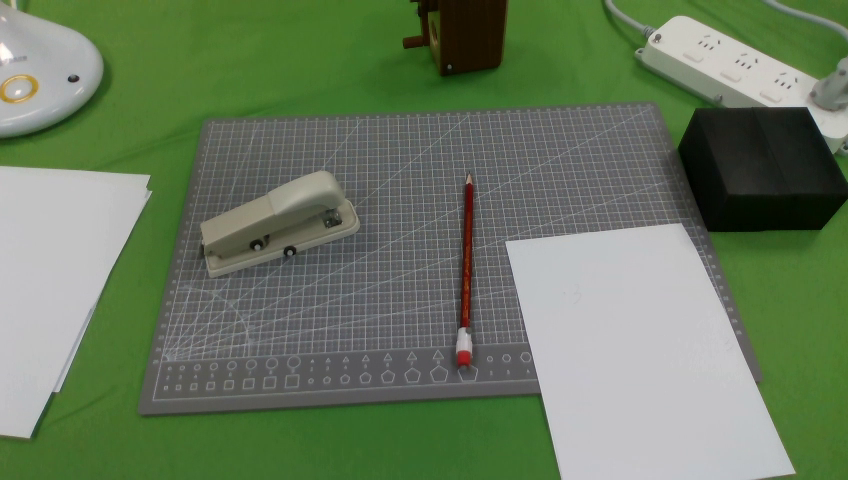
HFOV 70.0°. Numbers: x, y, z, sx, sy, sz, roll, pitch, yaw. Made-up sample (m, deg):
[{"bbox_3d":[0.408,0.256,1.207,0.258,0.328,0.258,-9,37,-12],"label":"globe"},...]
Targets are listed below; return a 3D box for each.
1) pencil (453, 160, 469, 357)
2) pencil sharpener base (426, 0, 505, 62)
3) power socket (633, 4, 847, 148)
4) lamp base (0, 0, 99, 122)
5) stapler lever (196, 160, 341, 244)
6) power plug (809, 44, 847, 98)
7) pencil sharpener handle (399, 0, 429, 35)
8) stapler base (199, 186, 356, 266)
[{"bbox_3d":[0.032,0.006,0.497,0.012,0.012,0.192,2,55,2],"label":"pencil"},{"bbox_3d":[0.036,-0.242,0.608,0.077,0.108,0.060,-12,57,-7],"label":"pencil sharpener base"},{"bbox_3d":[0.320,-0.168,0.603,0.072,0.033,0.225,-39,64,-24],"label":"power socket"},{"bbox_3d":[-0.422,-0.230,0.557,0.161,0.182,0.177,-30,58,-18],"label":"lamp base"},{"bbox_3d":[-0.125,-0.032,0.485,0.118,0.040,0.026,-18,56,-11],"label":"stapler lever"},{"bbox_3d":[0.392,-0.156,0.566,0.072,0.053,0.035,-31,61,-18],"label":"power plug"},{"bbox_3d":[-0.012,-0.234,0.587,0.031,0.068,0.035,-12,35,-7],"label":"pencil sharpener handle"},{"bbox_3d":[-0.123,-0.019,0.506,0.131,0.024,0.041,-19,57,-11],"label":"stapler base"}]
